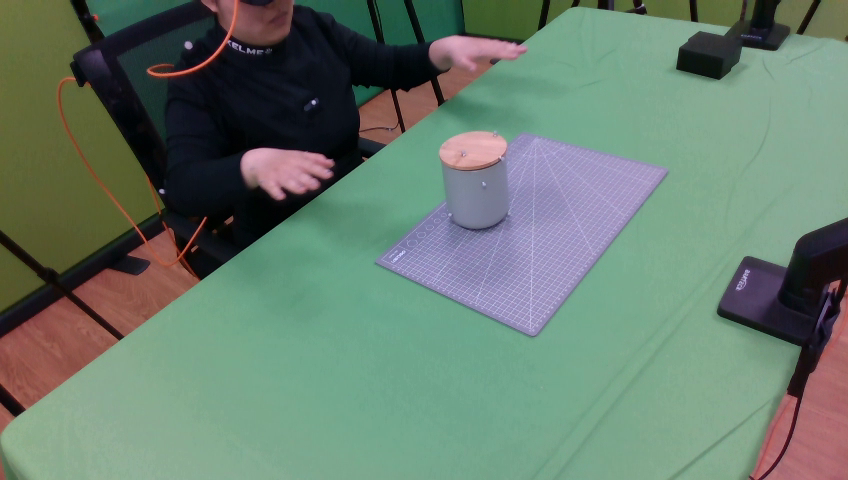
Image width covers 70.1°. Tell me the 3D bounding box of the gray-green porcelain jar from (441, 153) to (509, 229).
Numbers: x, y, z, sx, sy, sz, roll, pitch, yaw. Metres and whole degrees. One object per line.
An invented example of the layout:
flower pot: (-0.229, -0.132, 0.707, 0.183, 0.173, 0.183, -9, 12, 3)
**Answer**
gray-green porcelain jar: (0.086, -0.090, 0.988, 0.106, 0.127, 0.105, -5, 40, 5)

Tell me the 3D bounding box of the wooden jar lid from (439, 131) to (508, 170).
wooden jar lid: (0.078, -0.136, 0.948, 0.108, 0.021, 0.108, -5, 38, 5)
